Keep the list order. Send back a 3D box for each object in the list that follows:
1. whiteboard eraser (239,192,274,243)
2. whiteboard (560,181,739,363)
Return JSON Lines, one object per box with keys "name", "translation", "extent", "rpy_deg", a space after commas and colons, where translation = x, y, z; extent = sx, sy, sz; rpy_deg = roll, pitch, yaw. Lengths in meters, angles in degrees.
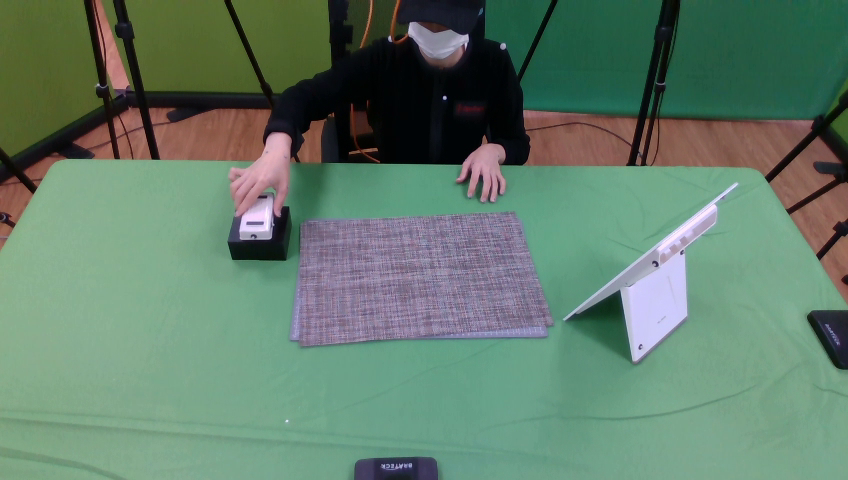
{"name": "whiteboard eraser", "translation": [-0.312, -0.043, 1.131], "extent": [0.055, 0.042, 0.112], "rpy_deg": [-3, 47, -5]}
{"name": "whiteboard", "translation": [0.406, 0.076, 1.000], "extent": [0.217, 0.306, 0.143], "rpy_deg": [-29, 74, -29]}
